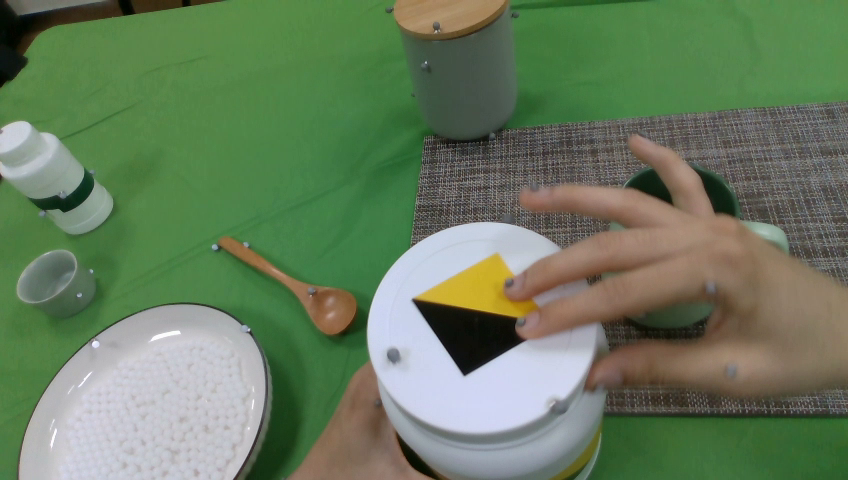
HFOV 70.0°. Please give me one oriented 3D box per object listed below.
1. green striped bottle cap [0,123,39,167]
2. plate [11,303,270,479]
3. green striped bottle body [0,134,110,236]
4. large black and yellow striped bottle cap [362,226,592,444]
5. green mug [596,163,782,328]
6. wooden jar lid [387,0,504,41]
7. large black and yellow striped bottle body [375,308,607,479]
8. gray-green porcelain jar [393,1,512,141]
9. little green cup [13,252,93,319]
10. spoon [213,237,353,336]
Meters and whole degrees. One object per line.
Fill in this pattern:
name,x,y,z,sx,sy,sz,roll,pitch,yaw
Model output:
green striped bottle cap,-0.398,-0.092,0.585,0.044,0.020,0.044,-5,56,7
plate,-0.220,0.149,0.489,0.209,0.038,0.207,-6,54,8
green striped bottle body,-0.389,-0.062,0.626,0.063,0.120,0.062,-6,54,9
large black and yellow striped bottle cap,0.025,0.043,0.304,0.115,0.019,0.114,-5,56,8
green mug,0.194,0.007,0.449,0.125,0.106,0.092,5,56,16
wooden jar lid,0.021,-0.212,0.555,0.108,0.021,0.107,-8,52,11
large black and yellow striped bottle body,0.044,0.089,0.377,0.130,0.186,0.129,-6,58,9
gray-green porcelain jar,0.032,-0.172,0.603,0.106,0.128,0.105,-6,50,8
little green cup,-0.360,0.047,0.593,0.061,0.039,0.061,-6,52,9
spoon,-0.137,0.034,0.561,0.192,0.022,0.041,27,81,28
